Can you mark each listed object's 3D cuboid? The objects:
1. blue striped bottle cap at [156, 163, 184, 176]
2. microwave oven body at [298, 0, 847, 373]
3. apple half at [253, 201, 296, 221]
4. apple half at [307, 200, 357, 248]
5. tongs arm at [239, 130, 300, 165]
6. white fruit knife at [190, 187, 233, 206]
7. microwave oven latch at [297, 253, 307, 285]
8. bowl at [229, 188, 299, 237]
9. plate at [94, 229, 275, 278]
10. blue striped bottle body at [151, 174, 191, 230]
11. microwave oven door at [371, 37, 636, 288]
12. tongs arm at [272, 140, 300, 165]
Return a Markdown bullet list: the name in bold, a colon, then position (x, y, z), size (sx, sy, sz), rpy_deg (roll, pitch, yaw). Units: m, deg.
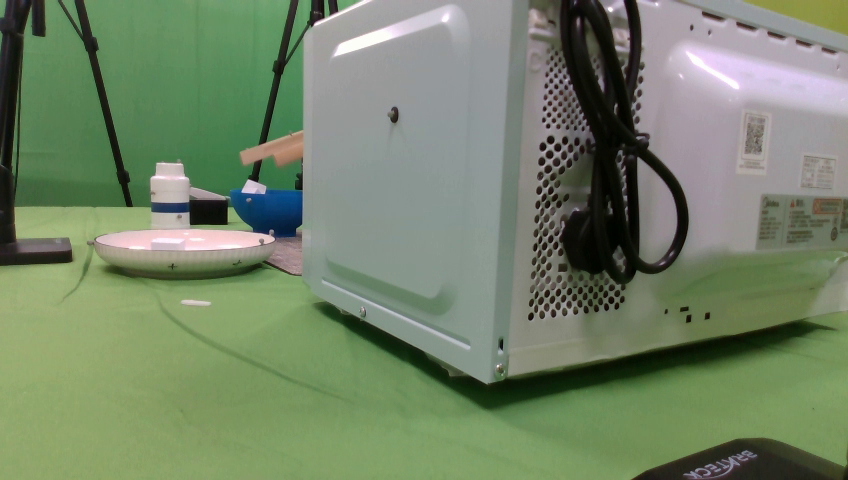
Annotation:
- **blue striped bottle cap**: position (-0.438, -0.122, 1.045), size (0.044, 0.020, 0.044), rpy_deg (4, 6, 0)
- **microwave oven body**: position (0.151, -0.055, 0.543), size (0.444, 0.260, 0.324), rpy_deg (-1, 8, -33)
- **apple half**: position (-0.265, -0.052, 1.067), size (0.081, 0.033, 0.081), rpy_deg (2, 10, 0)
- **apple half**: position (-0.136, -0.024, 0.942), size (0.053, 0.074, 0.081), rpy_deg (15, 10, 38)
- **tongs arm**: position (-0.189, -0.220, 1.192), size (0.050, 0.026, 0.386), rpy_deg (5, 27, 41)
- **white fruit knife**: position (-0.413, -0.081, 1.270), size (0.208, 0.027, 0.016), rpy_deg (18, 12, -41)
- **microwave oven latch**: position (-0.082, 0.027, 0.582), size (0.079, 0.029, 0.030), rpy_deg (-1, 7, -33)
- **bowl**: position (-0.264, -0.048, 1.066), size (0.151, 0.077, 0.151), rpy_deg (2, 8, 0)
- **plate**: position (-0.291, 0.016, 0.750), size (0.208, 0.039, 0.207), rpy_deg (2, 7, 0)
- **blue striped bottle body**: position (-0.439, -0.071, 1.052), size (0.063, 0.120, 0.063), rpy_deg (2, 7, 0)
- **microwave oven door**: position (0.109, -0.080, 0.686), size (0.358, 0.243, 0.039), rpy_deg (-2, 9, -33)
- **tongs arm**: position (-0.147, -0.215, 1.157), size (0.028, 0.028, 0.389), rpy_deg (-2, 23, 38)
